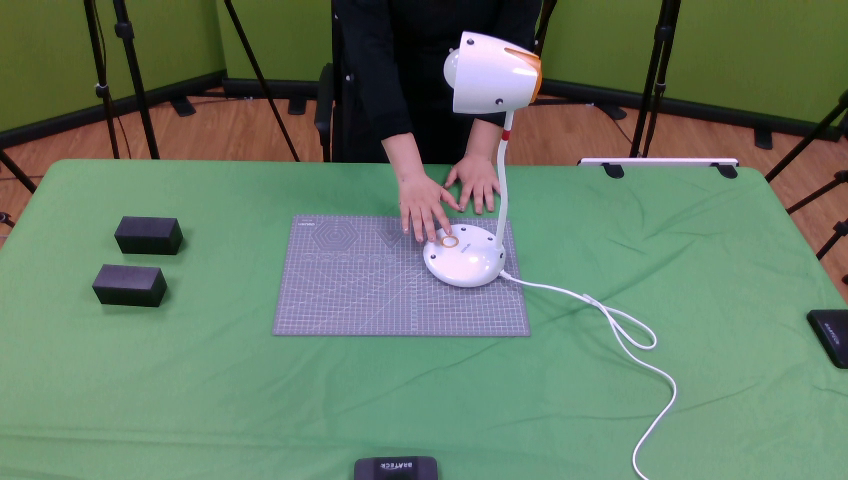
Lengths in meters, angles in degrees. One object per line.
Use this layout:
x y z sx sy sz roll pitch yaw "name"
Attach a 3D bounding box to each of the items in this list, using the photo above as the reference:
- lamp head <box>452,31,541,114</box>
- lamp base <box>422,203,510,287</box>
0.102 -0.228 0.858 0.123 0.113 0.112 11 46 0 "lamp head"
0.092 -0.021 1.111 0.179 0.181 0.160 23 49 14 "lamp base"
